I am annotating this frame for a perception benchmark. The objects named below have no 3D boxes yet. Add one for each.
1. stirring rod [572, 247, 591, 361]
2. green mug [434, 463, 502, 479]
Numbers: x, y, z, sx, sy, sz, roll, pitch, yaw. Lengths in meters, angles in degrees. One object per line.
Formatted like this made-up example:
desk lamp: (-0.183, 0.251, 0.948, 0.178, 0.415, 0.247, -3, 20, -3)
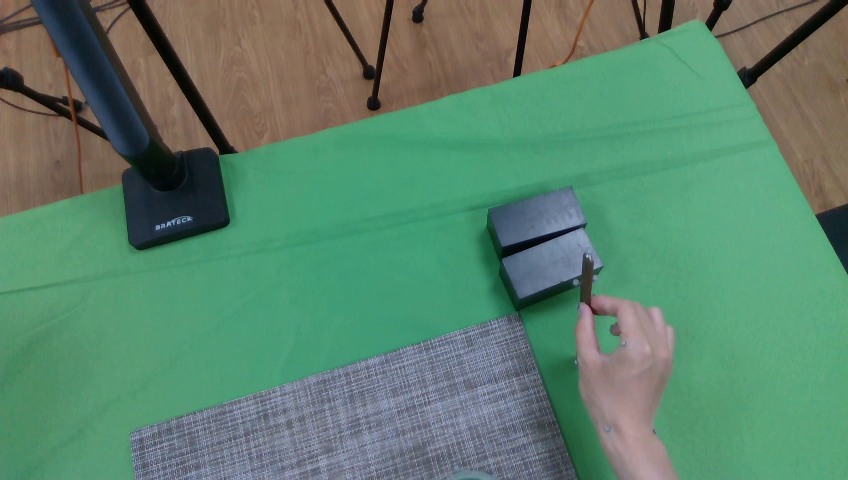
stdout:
stirring rod: (0.157, 0.069, 0.607, 0.006, 0.178, 0.014, -19, 47, -8)
green mug: (0.052, 0.272, 0.566, 0.092, 0.105, 0.124, -33, 71, -9)
